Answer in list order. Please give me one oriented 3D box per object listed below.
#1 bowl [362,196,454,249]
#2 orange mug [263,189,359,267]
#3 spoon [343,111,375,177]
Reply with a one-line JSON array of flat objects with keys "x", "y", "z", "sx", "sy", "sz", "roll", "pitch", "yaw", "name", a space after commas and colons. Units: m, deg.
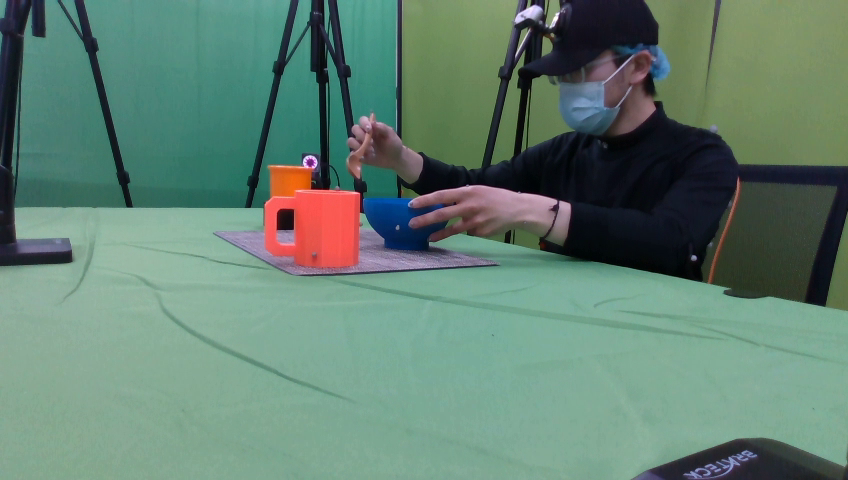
[{"x": -0.028, "y": -0.029, "z": 0.991, "sx": 0.151, "sy": 0.077, "sz": 0.151, "roll": 2, "pitch": 7, "yaw": 0, "name": "bowl"}, {"x": -0.147, "y": -0.019, "z": 0.794, "sx": 0.127, "sy": 0.100, "sz": 0.083, "roll": 5, "pitch": 6, "yaw": -19, "name": "orange mug"}, {"x": -0.114, "y": -0.183, "z": 1.124, "sx": 0.021, "sy": 0.193, "sz": 0.042, "roll": -27, "pitch": -57, "yaw": 38, "name": "spoon"}]
